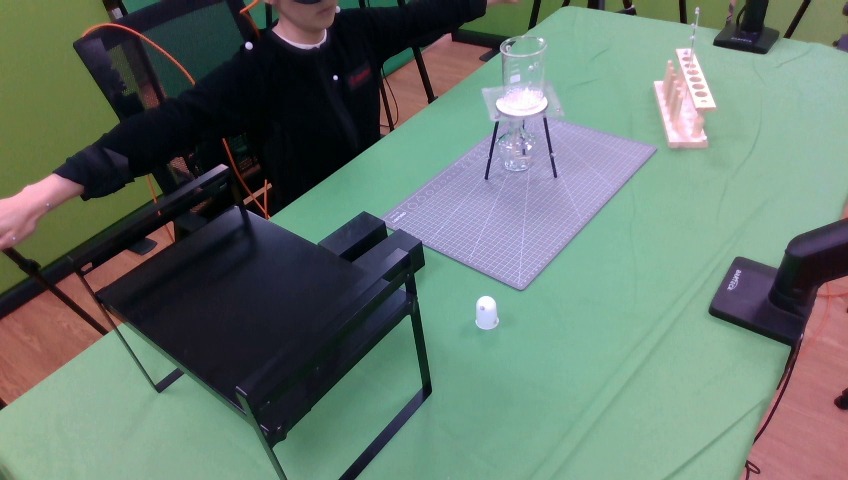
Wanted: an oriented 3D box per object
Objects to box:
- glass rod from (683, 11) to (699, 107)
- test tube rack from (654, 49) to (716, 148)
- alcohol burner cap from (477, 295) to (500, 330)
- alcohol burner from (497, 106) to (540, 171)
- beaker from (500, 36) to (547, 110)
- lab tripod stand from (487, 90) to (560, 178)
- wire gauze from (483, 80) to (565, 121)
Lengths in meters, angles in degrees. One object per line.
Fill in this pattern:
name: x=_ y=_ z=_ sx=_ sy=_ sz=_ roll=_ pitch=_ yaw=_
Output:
glass rod: x=0.501 y=-0.335 z=1.138 sx=0.008 sy=0.201 sz=0.008 roll=-7 pitch=45 yaw=7
test tube rack: x=0.502 y=-0.280 z=1.176 sx=0.066 sy=0.085 sz=0.241 roll=2 pitch=41 yaw=11
alcohol burner cap: x=0.089 y=0.097 z=0.833 sx=0.034 sy=0.048 sz=0.033 roll=-4 pitch=42 yaw=4
alcohol burner: x=0.170 y=-0.187 z=1.092 sx=0.078 sy=0.119 sz=0.077 roll=-6 pitch=41 yaw=6
beaker: x=0.169 y=-0.276 z=1.004 sx=0.084 sy=0.101 sz=0.073 roll=-26 pitch=45 yaw=-18
lab tripod stand: x=0.175 y=-0.185 z=1.074 sx=0.148 sy=0.132 sz=0.147 roll=-5 pitch=42 yaw=5
wire gauze: x=0.168 y=-0.237 z=1.035 sx=0.125 sy=0.011 sz=0.121 roll=-7 pitch=39 yaw=4
